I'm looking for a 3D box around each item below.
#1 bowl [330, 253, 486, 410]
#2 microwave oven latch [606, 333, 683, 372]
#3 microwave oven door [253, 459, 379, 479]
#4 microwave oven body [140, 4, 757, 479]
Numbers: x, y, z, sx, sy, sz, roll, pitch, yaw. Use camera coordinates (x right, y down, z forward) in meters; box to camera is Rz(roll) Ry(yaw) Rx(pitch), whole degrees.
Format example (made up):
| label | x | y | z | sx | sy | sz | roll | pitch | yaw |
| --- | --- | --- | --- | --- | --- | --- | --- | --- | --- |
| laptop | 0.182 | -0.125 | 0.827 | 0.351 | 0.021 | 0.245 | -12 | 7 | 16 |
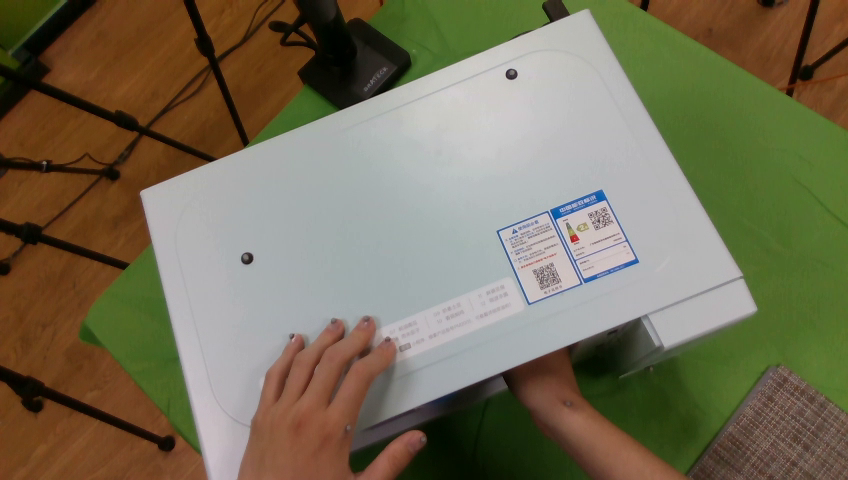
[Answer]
| label | x | y | z | sx | sy | sz | roll | pitch | yaw |
| --- | --- | --- | --- | --- | --- | --- | --- | --- | --- |
| bowl | -0.016 | 0.095 | 0.616 | 0.151 | 0.077 | 0.150 | 1 | 76 | -2 |
| microwave oven latch | 0.240 | 0.117 | 0.658 | 0.079 | 0.030 | 0.030 | -21 | 71 | 2 |
| microwave oven door | 0.025 | 0.267 | 0.531 | 0.355 | 0.245 | 0.039 | 13 | 75 | 11 |
| microwave oven body | 0.010 | 0.026 | 0.615 | 0.442 | 0.262 | 0.323 | -23 | 71 | 1 |
